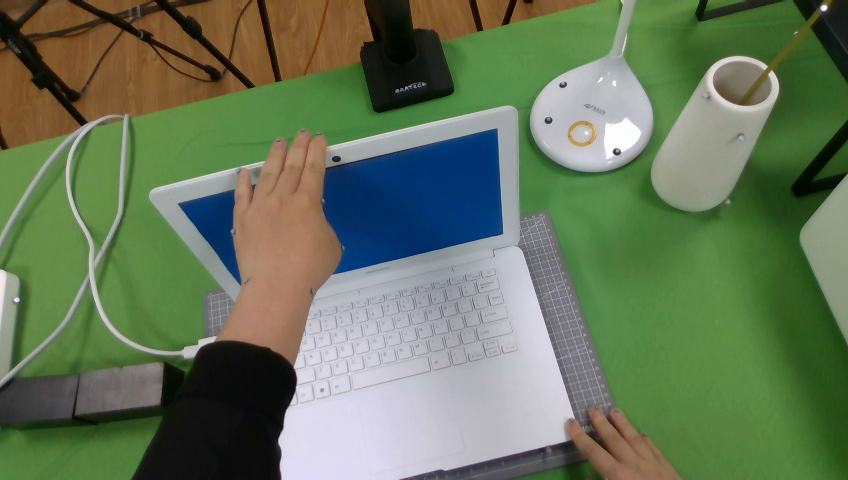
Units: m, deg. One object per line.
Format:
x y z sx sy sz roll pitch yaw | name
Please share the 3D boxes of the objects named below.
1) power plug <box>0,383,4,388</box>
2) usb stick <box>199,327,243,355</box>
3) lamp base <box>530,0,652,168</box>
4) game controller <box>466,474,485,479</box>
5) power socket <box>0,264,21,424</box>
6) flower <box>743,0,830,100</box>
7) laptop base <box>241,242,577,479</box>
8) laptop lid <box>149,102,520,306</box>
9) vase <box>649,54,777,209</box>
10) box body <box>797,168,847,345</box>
-0.511 0.186 0.700 0.072 0.053 0.035 2 64 5 | power plug
-0.233 0.118 0.717 0.059 0.027 0.021 -10 65 -4 | usb stick
0.218 -0.209 0.744 0.160 0.182 0.178 18 66 13 | lamp base
0.029 0.307 0.607 0.155 0.052 0.096 -27 61 -7 | game controller
-0.551 0.132 0.750 0.072 0.033 0.224 -10 65 0 | power socket
0.331 -0.154 0.607 0.038 0.364 0.043 1 56 -12 | flower
-0.028 0.145 0.699 0.354 0.023 0.233 -13 69 -1 | laptop base
-0.070 -0.024 0.649 0.357 0.244 0.013 -14 55 1 | laptop lid
0.320 -0.116 0.681 0.098 0.201 0.097 -3 64 6 | vase
0.577 0.080 0.588 0.254 0.161 0.361 -12 65 1 | box body
